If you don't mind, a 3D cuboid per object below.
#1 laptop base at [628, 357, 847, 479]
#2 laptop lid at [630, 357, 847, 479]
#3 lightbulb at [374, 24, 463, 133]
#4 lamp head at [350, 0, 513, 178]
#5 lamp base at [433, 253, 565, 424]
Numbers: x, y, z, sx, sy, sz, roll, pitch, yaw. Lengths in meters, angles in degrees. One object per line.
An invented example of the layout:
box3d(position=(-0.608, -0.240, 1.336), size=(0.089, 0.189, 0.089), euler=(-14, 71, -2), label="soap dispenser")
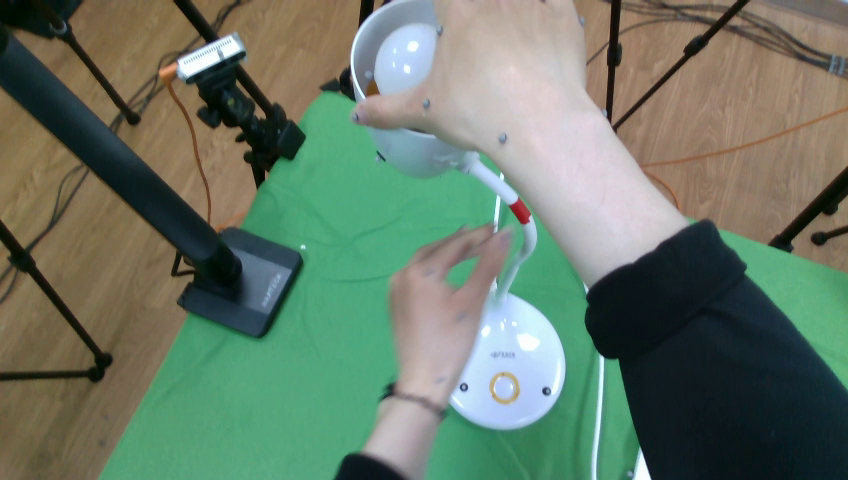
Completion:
box3d(position=(0.410, 0.299, 0.687), size=(0.353, 0.023, 0.234), euler=(19, 71, 7), label="laptop base")
box3d(position=(0.409, 0.296, 0.675), size=(0.356, 0.013, 0.240), euler=(21, 70, 7), label="laptop lid")
box3d(position=(-0.003, -0.107, 0.430), size=(0.059, 0.108, 0.059), euler=(0, 75, 1), label="lightbulb")
box3d(position=(0.005, -0.097, 0.458), size=(0.112, 0.123, 0.111), euler=(1, 67, -1), label="lamp head")
box3d(position=(0.090, 0.100, 0.673), size=(0.161, 0.181, 0.177), euler=(-9, 65, -5), label="lamp base")
